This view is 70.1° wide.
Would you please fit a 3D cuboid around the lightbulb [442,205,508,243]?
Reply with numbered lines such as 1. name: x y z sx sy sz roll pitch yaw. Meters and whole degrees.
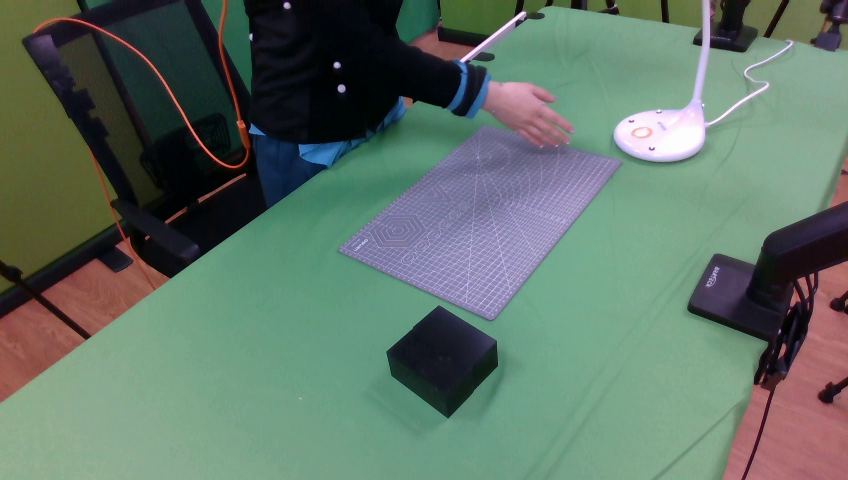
1. lightbulb: 0.081 -0.019 0.955 0.107 0.059 0.059 18 44 5

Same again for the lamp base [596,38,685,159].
1. lamp base: 0.408 -0.264 1.094 0.180 0.181 0.159 -29 45 -27
